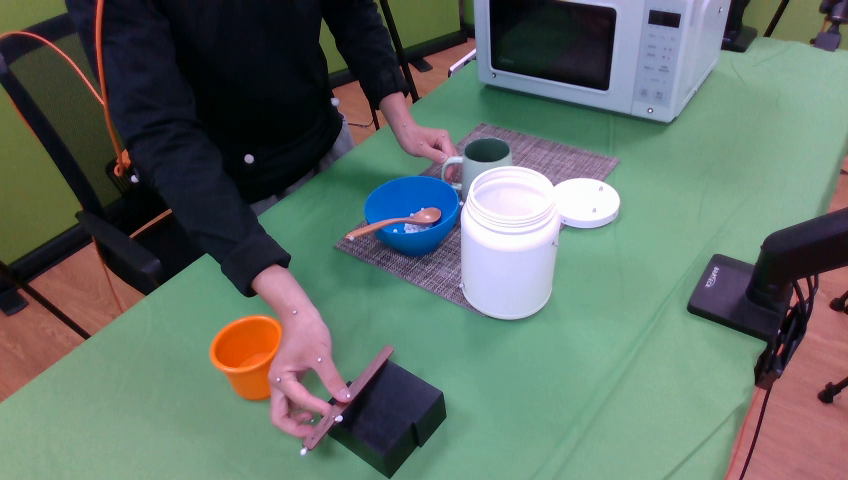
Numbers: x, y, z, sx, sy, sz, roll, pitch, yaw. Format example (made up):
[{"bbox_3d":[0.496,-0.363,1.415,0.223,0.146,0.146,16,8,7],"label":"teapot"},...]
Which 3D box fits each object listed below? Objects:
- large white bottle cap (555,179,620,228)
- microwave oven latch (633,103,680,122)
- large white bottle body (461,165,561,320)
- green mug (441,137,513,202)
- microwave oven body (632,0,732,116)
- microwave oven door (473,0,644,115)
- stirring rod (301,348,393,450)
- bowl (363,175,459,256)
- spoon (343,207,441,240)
[{"bbox_3d":[0.265,-0.062,1.001,0.115,0.018,0.114,-3,41,3],"label":"large white bottle cap"},{"bbox_3d":[0.444,-0.249,1.157,0.078,0.029,0.030,21,49,30],"label":"microwave oven latch"},{"bbox_3d":[0.115,0.004,0.815,0.130,0.185,0.130,-2,43,2],"label":"large white bottle body"},{"bbox_3d":[0.091,-0.108,1.012,0.125,0.105,0.092,2,42,12],"label":"green mug"},{"bbox_3d":[0.377,-0.462,1.267,0.438,0.261,0.327,21,48,30],"label":"microwave oven body"},{"bbox_3d":[0.257,-0.396,1.199,0.353,0.245,0.039,21,48,29],"label":"microwave oven door"},{"bbox_3d":[-0.083,0.176,0.691,0.014,0.006,0.176,19,34,20],"label":"stirring rod"},{"bbox_3d":[-0.016,-0.029,0.955,0.151,0.077,0.150,-4,40,4],"label":"bowl"},{"bbox_3d":[-0.046,-0.025,0.911,0.041,0.021,0.195,28,28,36],"label":"spoon"}]
